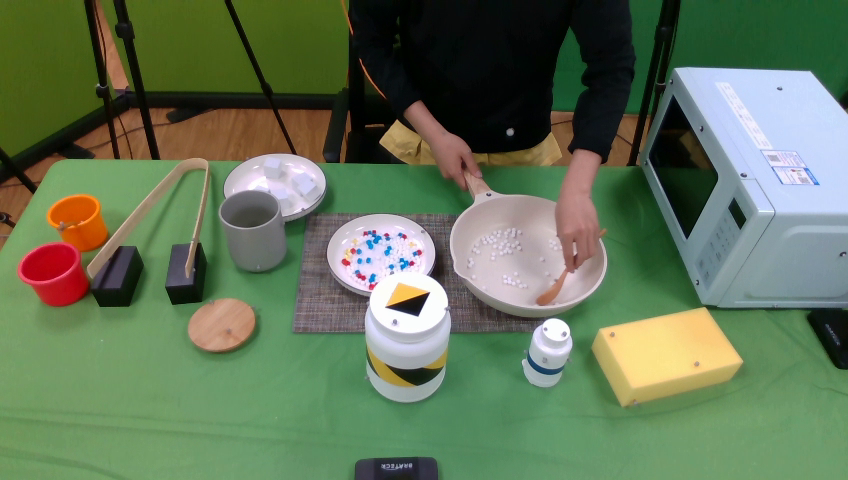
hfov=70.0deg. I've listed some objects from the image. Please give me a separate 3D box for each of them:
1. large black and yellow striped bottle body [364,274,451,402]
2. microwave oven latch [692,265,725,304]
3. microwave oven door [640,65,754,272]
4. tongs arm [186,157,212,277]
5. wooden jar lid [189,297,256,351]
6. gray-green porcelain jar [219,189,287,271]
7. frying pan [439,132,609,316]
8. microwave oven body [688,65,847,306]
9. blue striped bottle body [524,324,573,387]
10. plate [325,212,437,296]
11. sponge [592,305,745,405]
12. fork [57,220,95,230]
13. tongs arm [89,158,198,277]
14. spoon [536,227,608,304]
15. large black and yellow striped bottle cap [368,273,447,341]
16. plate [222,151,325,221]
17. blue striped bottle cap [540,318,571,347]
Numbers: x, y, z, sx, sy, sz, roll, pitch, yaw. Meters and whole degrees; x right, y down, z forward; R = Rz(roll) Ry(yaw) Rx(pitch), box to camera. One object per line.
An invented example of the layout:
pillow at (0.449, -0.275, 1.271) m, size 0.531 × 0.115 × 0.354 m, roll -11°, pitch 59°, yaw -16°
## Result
large black and yellow striped bottle body at (-0.026, 0.151, 0.937) m, size 0.131 × 0.185 × 0.130 m, roll 2°, pitch 47°, yaw -2°
microwave oven latch at (0.522, 0.081, 1.116) m, size 0.030 × 0.029 × 0.078 m, roll 1°, pitch 46°, yaw -2°
microwave oven door at (0.524, -0.148, 1.193) m, size 0.039 × 0.245 × 0.353 m, roll 0°, pitch 47°, yaw -3°
tongs arm at (-0.445, -0.058, 1.168) m, size 0.051 × 0.026 × 0.382 m, roll -4°, pitch 37°, yaw -6°
wooden jar lid at (-0.342, 0.145, 1.033) m, size 0.108 × 0.021 × 0.107 m, roll 2°, pitch 45°, yaw -2°
gray-green porcelain jar at (-0.309, -0.014, 1.113) m, size 0.106 × 0.127 × 0.105 m, roll 2°, pitch 46°, yaw -2°
frying pan at (0.149, -0.049, 1.190) m, size 0.307 × 0.103 × 0.484 m, roll -17°, pitch 58°, yaw -20°
microwave oven body at (0.669, -0.111, 1.176) m, size 0.326 × 0.261 × 0.439 m, roll 0°, pitch 46°, yaw -3°
blue striped bottle body at (0.200, 0.178, 0.970) m, size 0.063 × 0.121 × 0.062 m, roll 2°, pitch 46°, yaw -2°
plate at (-0.080, 0.030, 1.143) m, size 0.209 × 0.038 × 0.208 m, roll 3°, pitch 46°, yaw -2°
sponge at (0.405, 0.190, 1.014) m, size 0.207 × 0.061 × 0.117 m, roll -10°, pitch 48°, yaw -13°
fork at (-0.624, -0.027, 1.086) m, size 0.028 × 0.207 × 0.018 m, roll -3°, pitch 92°, yaw -17°
tongs arm at (-0.529, -0.058, 1.164) m, size 0.028 × 0.028 × 0.385 m, roll 1°, pitch 36°, yaw 8°
spoon at (0.271, 0.044, 1.101) m, size 0.021 × 0.042 × 0.193 m, roll 33°, pitch 77°, yaw 35°
large black and yellow striped bottle cap at (-0.023, 0.094, 0.875) m, size 0.115 × 0.019 × 0.114 m, roll 2°, pitch 45°, yaw -2°
plate at (-0.310, -0.106, 1.263) m, size 0.208 × 0.039 × 0.206 m, roll 2°, pitch 47°, yaw -2°
blue striped bottle cap at (0.203, 0.142, 0.933) m, size 0.044 × 0.021 × 0.044 m, roll 3°, pitch 49°, yaw -3°
